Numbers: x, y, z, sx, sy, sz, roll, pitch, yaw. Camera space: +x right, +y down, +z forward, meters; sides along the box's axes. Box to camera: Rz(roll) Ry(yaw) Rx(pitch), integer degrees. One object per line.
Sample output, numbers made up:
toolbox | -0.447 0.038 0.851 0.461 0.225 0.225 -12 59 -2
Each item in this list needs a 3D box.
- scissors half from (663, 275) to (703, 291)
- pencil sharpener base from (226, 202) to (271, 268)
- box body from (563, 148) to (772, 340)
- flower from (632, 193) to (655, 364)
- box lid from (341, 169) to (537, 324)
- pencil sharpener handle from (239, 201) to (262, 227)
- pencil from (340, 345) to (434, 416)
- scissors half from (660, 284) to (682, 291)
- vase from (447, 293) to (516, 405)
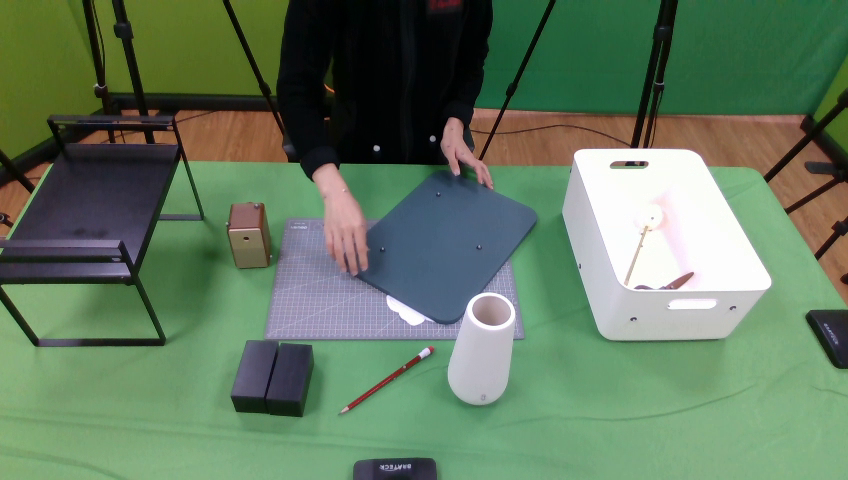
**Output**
scissors half | 0.460 0.092 1.132 0.175 0.040 0.013 -18 87 -26
pencil sharpener base | -0.323 -0.010 1.123 0.061 0.107 0.076 -3 46 -7
box body | 0.421 0.003 1.130 0.254 0.161 0.361 0 46 -5
flower | 0.423 0.068 1.187 0.038 0.044 0.360 20 65 -17
box lid | 0.038 -0.004 1.210 0.262 0.015 0.371 27 49 21
pencil sharpener handle | -0.325 -0.055 1.150 0.036 0.068 0.030 -13 46 4
pencil | -0.058 0.228 0.984 0.194 0.012 0.012 -32 56 -28
scissors half | 0.453 0.095 1.144 0.175 0.040 0.013 -16 93 -32
vase | 0.091 0.169 0.921 0.098 0.201 0.097 3 47 -3
